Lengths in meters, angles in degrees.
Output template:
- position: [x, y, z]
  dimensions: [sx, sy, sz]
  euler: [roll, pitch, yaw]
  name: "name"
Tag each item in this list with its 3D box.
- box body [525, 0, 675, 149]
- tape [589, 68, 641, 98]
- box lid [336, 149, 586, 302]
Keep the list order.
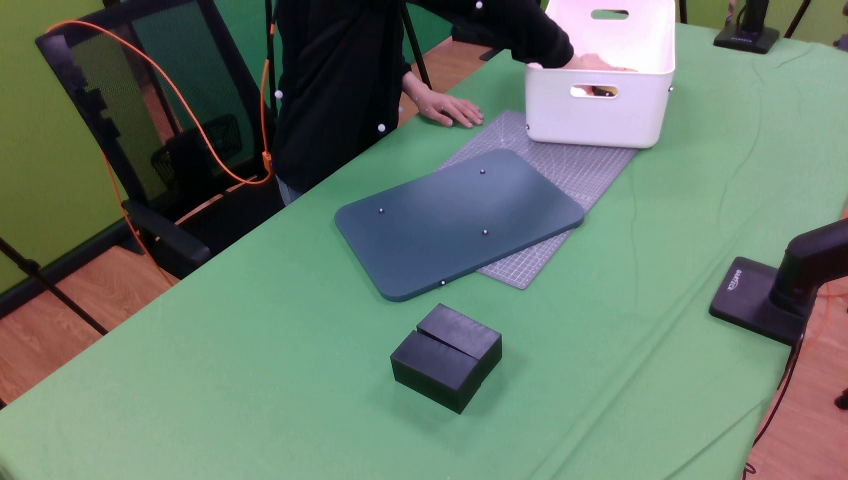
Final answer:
- position: [0.356, -0.342, 1.212]
  dimensions: [0.253, 0.161, 0.363]
  euler: [7, 42, 17]
  name: "box body"
- position: [0.397, -0.304, 1.236]
  dimensions: [0.117, 0.053, 0.116]
  euler: [-4, 41, 4]
  name: "tape"
- position: [0.055, -0.040, 1.022]
  dimensions: [0.373, 0.015, 0.261]
  euler: [-22, 42, -16]
  name: "box lid"
